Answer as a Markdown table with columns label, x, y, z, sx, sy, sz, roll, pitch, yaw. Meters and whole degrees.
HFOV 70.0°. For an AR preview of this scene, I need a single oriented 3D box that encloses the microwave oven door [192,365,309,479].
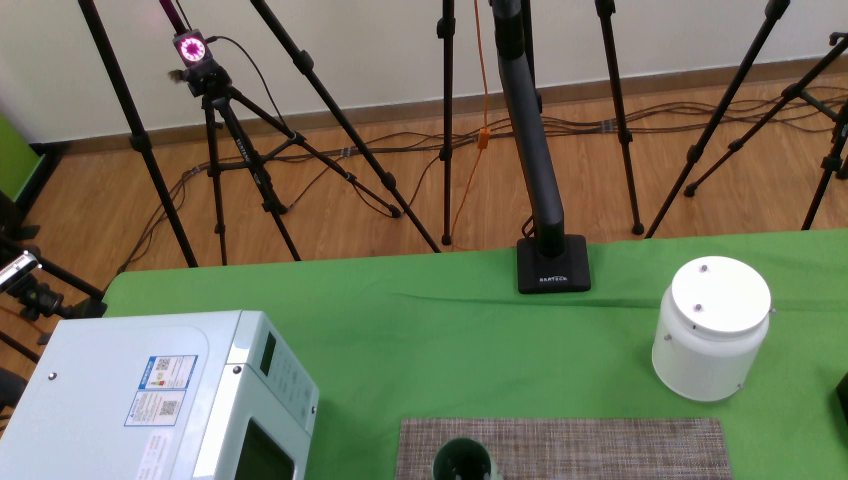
| label | x | y | z | sx | sy | sz | roll | pitch | yaw |
| --- | --- | --- | --- | --- | --- | --- | --- | --- | --- |
| microwave oven door | -0.217 | 0.359 | 0.710 | 0.039 | 0.246 | 0.352 | -5 | 51 | 10 |

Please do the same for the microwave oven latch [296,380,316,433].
| label | x | y | z | sx | sy | sz | roll | pitch | yaw |
| --- | --- | --- | --- | --- | --- | --- | --- | --- | --- |
| microwave oven latch | -0.185 | 0.253 | 0.922 | 0.030 | 0.030 | 0.078 | -3 | 52 | 10 |

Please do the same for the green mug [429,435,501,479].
| label | x | y | z | sx | sy | sz | roll | pitch | yaw |
| --- | --- | --- | --- | --- | --- | --- | --- | --- | --- |
| green mug | 0.054 | 0.325 | 0.781 | 0.092 | 0.106 | 0.124 | -10 | 50 | 5 |

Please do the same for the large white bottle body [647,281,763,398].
| label | x | y | z | sx | sy | sz | roll | pitch | yaw |
| --- | --- | --- | --- | --- | --- | --- | --- | --- | --- |
| large white bottle body | 0.378 | 0.118 | 0.823 | 0.130 | 0.186 | 0.129 | -7 | 50 | 9 |

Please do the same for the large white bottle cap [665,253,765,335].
| label | x | y | z | sx | sy | sz | roll | pitch | yaw |
| --- | --- | --- | --- | --- | --- | --- | --- | --- | --- |
| large white bottle cap | 0.363 | 0.065 | 0.758 | 0.115 | 0.018 | 0.113 | -6 | 51 | 8 |

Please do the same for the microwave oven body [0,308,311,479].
| label | x | y | z | sx | sy | sz | roll | pitch | yaw |
| --- | --- | --- | --- | --- | --- | --- | --- | --- | --- |
| microwave oven body | -0.358 | 0.341 | 0.764 | 0.325 | 0.263 | 0.437 | -4 | 52 | 10 |
